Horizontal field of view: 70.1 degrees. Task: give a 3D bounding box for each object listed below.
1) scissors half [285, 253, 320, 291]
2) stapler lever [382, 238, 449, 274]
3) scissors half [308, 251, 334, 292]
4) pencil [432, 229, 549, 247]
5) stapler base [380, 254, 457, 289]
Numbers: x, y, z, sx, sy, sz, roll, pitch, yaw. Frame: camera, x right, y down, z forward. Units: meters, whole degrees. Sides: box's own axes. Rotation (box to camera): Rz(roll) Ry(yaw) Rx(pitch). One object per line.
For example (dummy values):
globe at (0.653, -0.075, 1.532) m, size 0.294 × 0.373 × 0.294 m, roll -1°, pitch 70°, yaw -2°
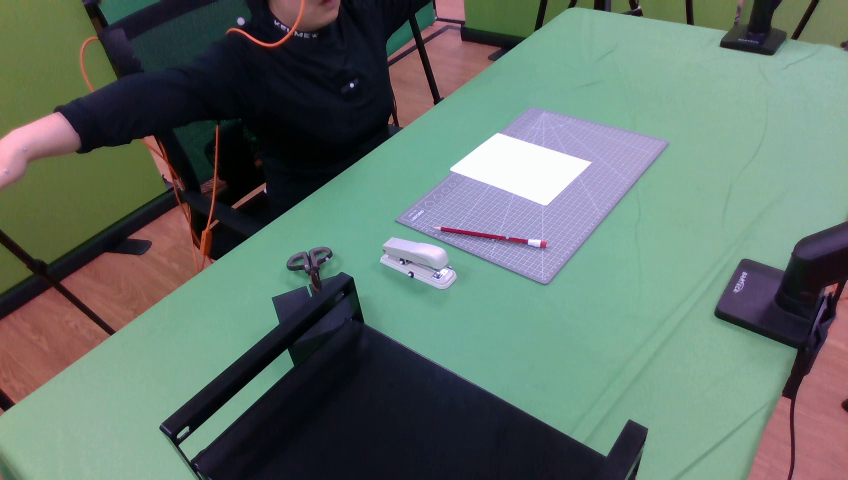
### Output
scissors half at (-0.179, 0.049, 0.909) m, size 0.040 × 0.013 × 0.174 m, roll -15°, pitch 19°, yaw -20°
stapler lever at (-0.014, 0.018, 0.919) m, size 0.117 × 0.040 × 0.027 m, roll 21°, pitch 45°, yaw 31°
scissors half at (-0.159, 0.046, 0.913) m, size 0.040 × 0.013 × 0.174 m, roll -4°, pitch 17°, yaw -5°
pencil at (0.103, -0.005, 0.970) m, size 0.193 × 0.012 × 0.012 m, roll 8°, pitch 42°, yaw 18°
stapler base at (-0.010, 0.037, 0.934) m, size 0.129 × 0.024 × 0.041 m, roll 20°, pitch 45°, yaw 31°
